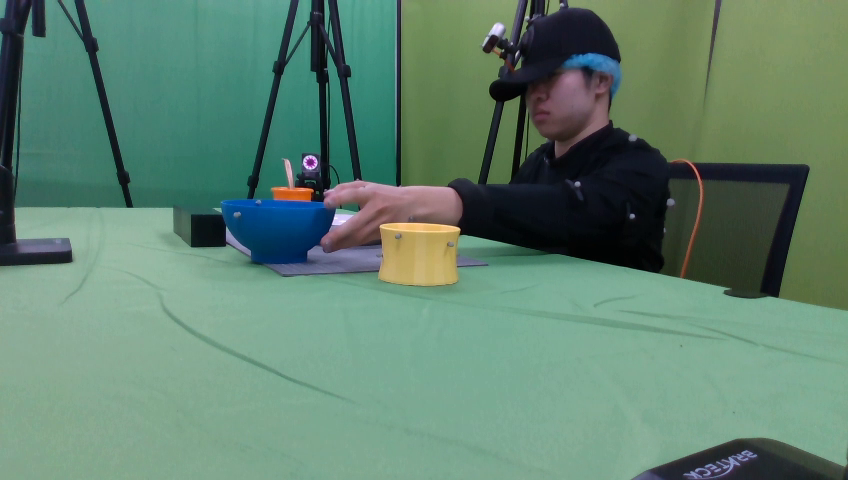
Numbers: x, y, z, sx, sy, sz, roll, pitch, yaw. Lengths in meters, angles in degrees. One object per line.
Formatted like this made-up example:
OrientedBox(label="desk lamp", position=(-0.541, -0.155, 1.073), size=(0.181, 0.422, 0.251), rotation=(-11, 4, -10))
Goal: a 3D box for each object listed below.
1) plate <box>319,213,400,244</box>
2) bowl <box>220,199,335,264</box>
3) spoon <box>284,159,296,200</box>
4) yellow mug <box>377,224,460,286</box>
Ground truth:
OrientedBox(label="plate", position=(-0.147, -0.020, 1.060), size=(0.209, 0.038, 0.209), rotation=(3, 7, 0))
OrientedBox(label="bowl", position=(-0.197, -0.011, 0.819), size=(0.151, 0.077, 0.151), rotation=(3, 8, 0))
OrientedBox(label="spoon", position=(-0.302, -0.118, 1.370), size=(0.042, 0.193, 0.021), rotation=(4, -39, -24))
OrientedBox(label="yellow mug", position=(-0.002, 0.014, 0.754), size=(0.099, 0.064, 0.131), rotation=(5, 6, 21))
